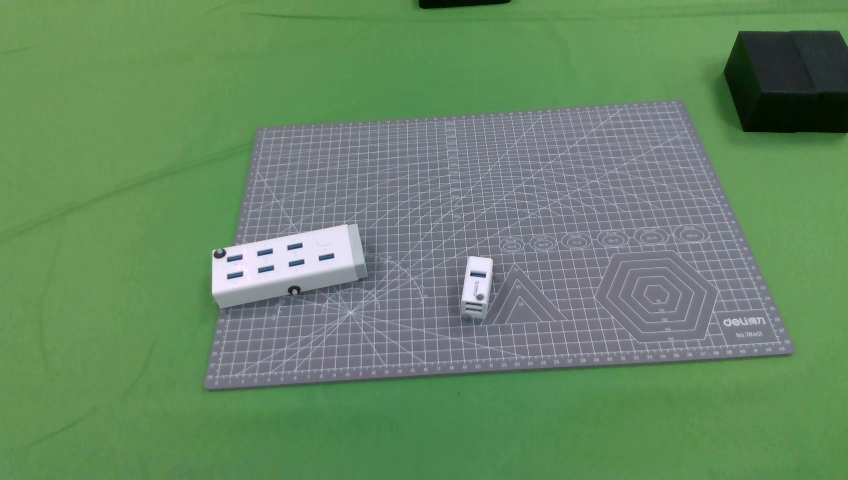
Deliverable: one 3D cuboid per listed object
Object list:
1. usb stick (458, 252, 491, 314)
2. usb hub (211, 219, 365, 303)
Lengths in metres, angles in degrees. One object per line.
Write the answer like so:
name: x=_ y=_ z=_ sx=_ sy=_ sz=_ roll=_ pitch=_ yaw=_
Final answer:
usb stick: x=0.043 y=0.029 z=0.496 sx=0.021 sy=0.027 sz=0.058 roll=6 pitch=50 yaw=10
usb hub: x=-0.116 y=0.016 z=0.516 sx=0.125 sy=0.025 sz=0.049 roll=-11 pitch=52 yaw=-6
